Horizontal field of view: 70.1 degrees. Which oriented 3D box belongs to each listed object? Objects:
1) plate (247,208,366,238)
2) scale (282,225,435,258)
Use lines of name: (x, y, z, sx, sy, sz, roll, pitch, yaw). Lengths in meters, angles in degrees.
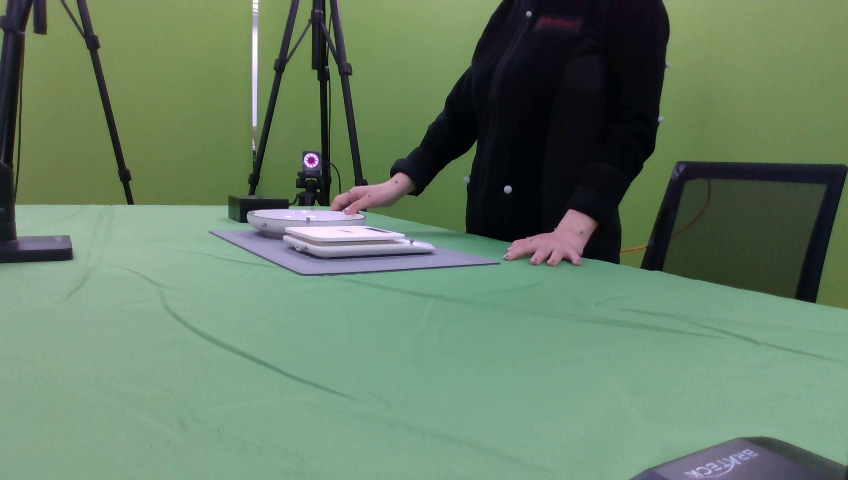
plate: (-0.208, -0.030, 1.082, 0.209, 0.038, 0.209, 2, 7, 0)
scale: (-0.098, 0.000, 0.914, 0.202, 0.031, 0.148, -2, 9, -33)
